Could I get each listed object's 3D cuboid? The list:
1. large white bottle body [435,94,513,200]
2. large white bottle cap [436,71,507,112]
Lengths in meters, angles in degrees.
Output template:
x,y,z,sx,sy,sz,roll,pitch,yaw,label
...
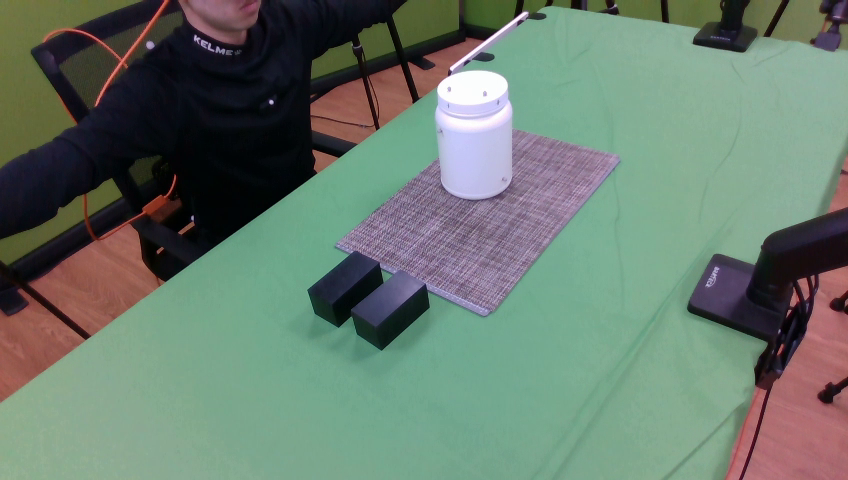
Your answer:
x,y,z,sx,sy,sz,roll,pitch,yaw,label
0.086,-0.176,1.030,0.130,0.185,0.130,-4,41,4,large white bottle body
0.077,-0.241,0.976,0.115,0.018,0.114,-4,41,4,large white bottle cap
